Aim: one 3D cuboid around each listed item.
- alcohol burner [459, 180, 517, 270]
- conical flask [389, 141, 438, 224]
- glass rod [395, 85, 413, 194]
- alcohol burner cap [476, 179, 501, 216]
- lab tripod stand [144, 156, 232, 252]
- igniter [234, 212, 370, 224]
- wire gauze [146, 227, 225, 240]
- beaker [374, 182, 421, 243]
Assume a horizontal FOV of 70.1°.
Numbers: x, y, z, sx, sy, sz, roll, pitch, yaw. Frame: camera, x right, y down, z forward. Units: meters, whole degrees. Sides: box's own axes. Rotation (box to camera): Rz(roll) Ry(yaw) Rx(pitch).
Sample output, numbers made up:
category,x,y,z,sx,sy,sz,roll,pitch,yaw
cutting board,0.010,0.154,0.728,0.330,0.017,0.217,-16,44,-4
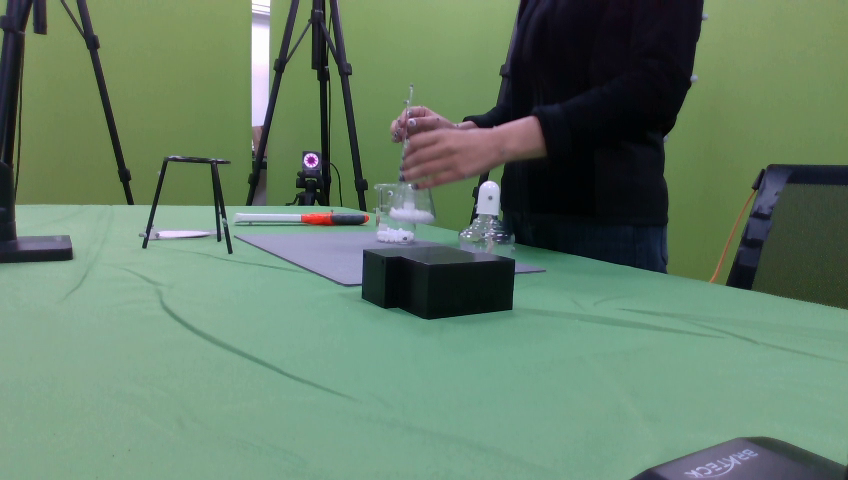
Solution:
category,x,y,z,sx,sy,sz,roll,pitch,yaw
alcohol burner,0.086,-0.021,0.806,0.078,0.119,0.078,3,9,0
conical flask,-0.013,-0.088,0.914,0.075,0.122,0.075,3,9,0
glass rod,-0.035,-0.176,1.046,0.008,0.199,0.008,7,-10,2
alcohol burner cap,0.086,-0.057,0.801,0.034,0.048,0.034,5,3,0
lab tripod stand,-0.325,-0.054,0.881,0.148,0.131,0.148,4,7,0
igniter,-0.247,-0.046,1.253,0.278,0.025,0.057,-1,-3,-27
wire gauze,-0.400,-0.012,1.019,0.122,0.011,0.124,-1,6,-26
beaker,-0.049,-0.048,1.031,0.083,0.100,0.074,5,7,24
